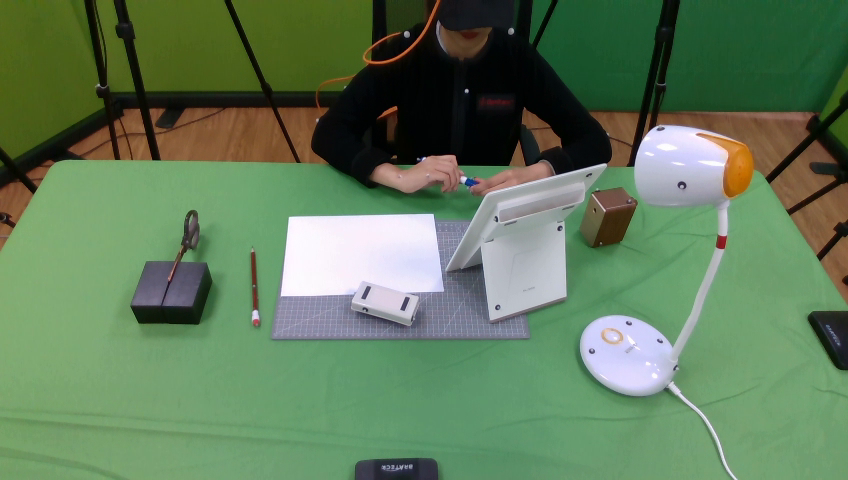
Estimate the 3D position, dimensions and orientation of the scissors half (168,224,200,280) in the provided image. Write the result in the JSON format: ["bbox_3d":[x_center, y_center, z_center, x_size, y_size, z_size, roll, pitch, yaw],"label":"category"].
[{"bbox_3d":[-0.440,0.023,1.111,0.013,0.040,0.174,7,29,-6],"label":"scissors half"}]

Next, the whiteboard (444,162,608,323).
[{"bbox_3d":[0.186,0.025,1.029,0.217,0.306,0.143,-14,68,-17],"label":"whiteboard"}]

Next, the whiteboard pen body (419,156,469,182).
[{"bbox_3d":[0.051,-0.145,1.286,0.140,0.017,0.017,27,50,19],"label":"whiteboard pen body"}]

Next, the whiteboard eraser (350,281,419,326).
[{"bbox_3d":[-0.069,0.113,1.065,0.112,0.042,0.055,14,46,9],"label":"whiteboard eraser"}]

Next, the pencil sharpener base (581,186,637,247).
[{"bbox_3d":[0.369,-0.047,1.209,0.077,0.107,0.061,-11,47,-14],"label":"pencil sharpener base"}]

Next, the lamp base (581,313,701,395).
[{"bbox_3d":[0.361,0.144,0.973,0.178,0.181,0.160,34,53,23],"label":"lamp base"}]

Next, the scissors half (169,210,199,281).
[{"bbox_3d":[-0.438,0.007,1.099,0.013,0.040,0.174,3,47,-3],"label":"scissors half"}]

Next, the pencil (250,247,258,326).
[{"bbox_3d":[-0.312,0.079,1.107,0.012,0.012,0.192,-7,46,-11],"label":"pencil"}]

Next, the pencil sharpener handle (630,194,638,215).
[{"bbox_3d":[0.417,-0.068,1.215,0.031,0.068,0.036,-11,60,-14],"label":"pencil sharpener handle"}]

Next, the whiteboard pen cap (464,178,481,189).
[{"bbox_3d":[0.101,-0.119,1.265,0.033,0.018,0.018,24,49,25],"label":"whiteboard pen cap"}]

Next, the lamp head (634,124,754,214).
[{"bbox_3d":[0.351,-0.089,0.776,0.112,0.113,0.122,-30,30,-28],"label":"lamp head"}]
